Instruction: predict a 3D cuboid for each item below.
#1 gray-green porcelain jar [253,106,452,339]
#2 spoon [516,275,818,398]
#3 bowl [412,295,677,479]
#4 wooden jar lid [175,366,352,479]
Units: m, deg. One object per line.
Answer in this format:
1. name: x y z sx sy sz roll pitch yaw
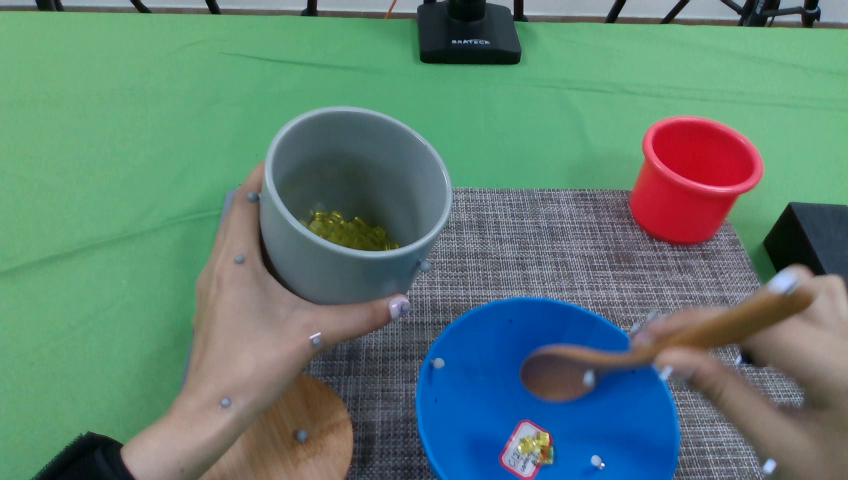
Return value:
1. gray-green porcelain jar: -0.052 -0.003 0.384 0.106 0.127 0.105 10 56 -14
2. spoon: 0.101 0.053 0.292 0.042 0.194 0.021 37 63 -5
3. bowl: 0.066 0.117 0.373 0.151 0.077 0.150 2 49 -2
4. wooden jar lid: -0.100 0.132 0.386 0.108 0.021 0.107 2 48 -1
